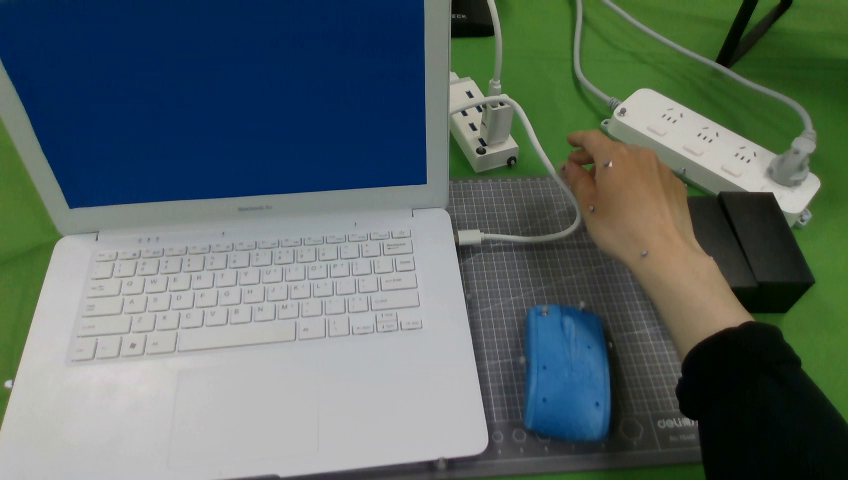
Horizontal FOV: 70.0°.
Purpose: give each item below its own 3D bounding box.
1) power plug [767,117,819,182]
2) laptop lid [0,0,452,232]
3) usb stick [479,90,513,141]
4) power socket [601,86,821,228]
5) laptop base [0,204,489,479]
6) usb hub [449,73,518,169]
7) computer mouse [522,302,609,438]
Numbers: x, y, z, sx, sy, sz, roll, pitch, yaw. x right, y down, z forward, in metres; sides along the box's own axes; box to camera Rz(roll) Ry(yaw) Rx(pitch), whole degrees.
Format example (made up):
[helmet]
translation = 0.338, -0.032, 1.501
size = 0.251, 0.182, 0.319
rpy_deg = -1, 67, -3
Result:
[power plug]
translation = 0.368, -0.080, 0.594
size = 0.072, 0.053, 0.035
rpy_deg = -30, 58, -21
[laptop lid]
translation = -0.154, -0.109, 0.488
size = 0.357, 0.244, 0.013
rpy_deg = -6, 40, -4
[usb stick]
translation = 0.072, -0.119, 0.609
size = 0.027, 0.059, 0.021
rpy_deg = -20, 54, -14
[power socket]
translation = 0.294, -0.091, 0.628
size = 0.225, 0.033, 0.072
rpy_deg = 37, 59, 24
[laptop base]
translation = -0.139, 0.076, 0.493
size = 0.355, 0.023, 0.233
rpy_deg = -5, 56, -5
[usb hub]
translation = 0.052, -0.131, 0.654
size = 0.049, 0.025, 0.124
rpy_deg = -16, 55, -14
[computer mouse]
translation = 0.110, 0.095, 0.471
size = 0.063, 0.041, 0.116
rpy_deg = 6, 48, 6
